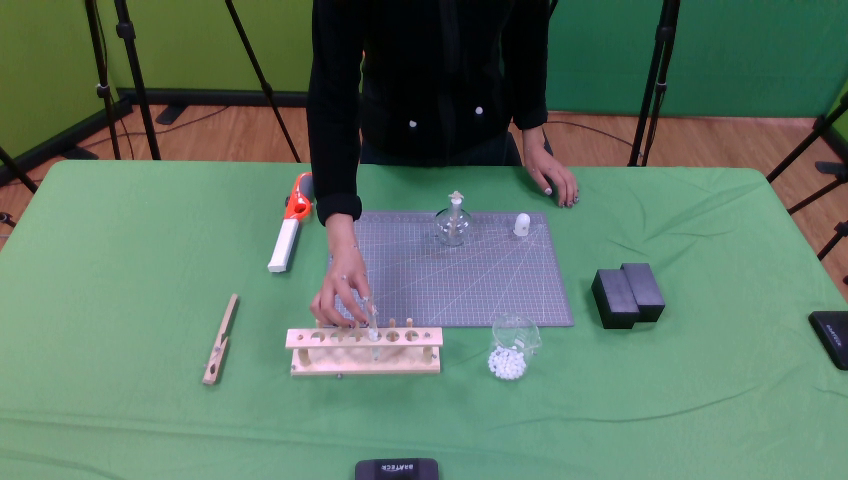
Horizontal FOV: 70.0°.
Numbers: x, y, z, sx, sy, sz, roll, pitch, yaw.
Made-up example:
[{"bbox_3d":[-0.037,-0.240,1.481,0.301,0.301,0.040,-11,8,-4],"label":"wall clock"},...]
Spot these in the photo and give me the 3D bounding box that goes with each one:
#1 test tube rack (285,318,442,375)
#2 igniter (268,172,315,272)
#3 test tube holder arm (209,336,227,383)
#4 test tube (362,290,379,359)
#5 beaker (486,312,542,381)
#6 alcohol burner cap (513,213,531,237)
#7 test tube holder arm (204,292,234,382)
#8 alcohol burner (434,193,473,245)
[{"bbox_3d":[-0.095,0.168,0.986,0.242,0.085,0.066,0,46,-4],"label":"test tube rack"},{"bbox_3d":[-0.264,-0.045,1.219,0.057,0.025,0.275,-2,45,8],"label":"igniter"},{"bbox_3d":[-0.338,0.193,0.991,0.010,0.015,0.087,28,39,-26],"label":"test tube holder arm"},{"bbox_3d":[-0.081,0.133,0.928,0.017,0.151,0.017,-1,42,1],"label":"test tube"},{"bbox_3d":[0.144,0.177,0.985,0.084,0.101,0.074,22,49,16],"label":"beaker"},{"bbox_3d":[0.200,-0.034,1.227,0.034,0.048,0.033,2,45,-2],"label":"alcohol burner cap"},{"bbox_3d":[-0.343,0.159,1.020,0.013,0.015,0.177,27,39,-27],"label":"test tube holder arm"},{"bbox_3d":[0.059,-0.046,1.180,0.078,0.120,0.077,1,48,-1],"label":"alcohol burner"}]
